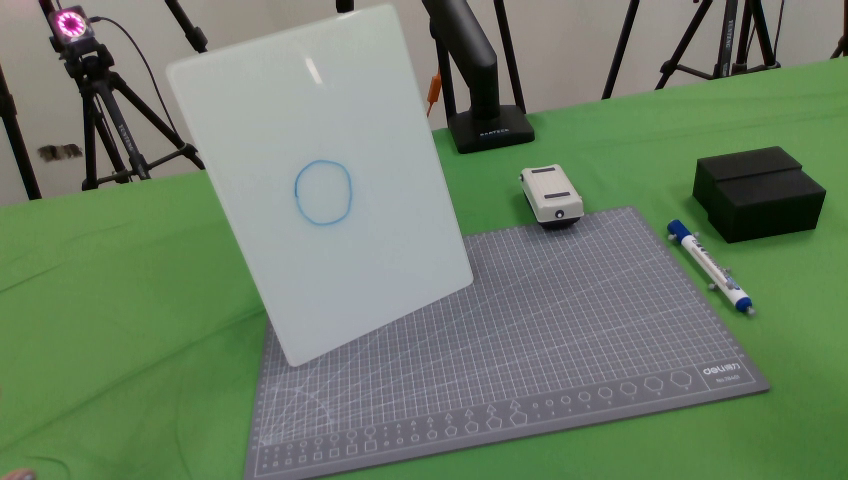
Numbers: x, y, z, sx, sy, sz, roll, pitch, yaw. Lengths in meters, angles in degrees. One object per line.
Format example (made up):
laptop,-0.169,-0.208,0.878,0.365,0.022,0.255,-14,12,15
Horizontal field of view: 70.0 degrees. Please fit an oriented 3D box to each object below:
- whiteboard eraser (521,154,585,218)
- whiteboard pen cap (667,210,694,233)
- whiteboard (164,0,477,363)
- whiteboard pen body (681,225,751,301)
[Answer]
whiteboard eraser,0.158,-0.068,0.755,0.055,0.042,0.111,-11,33,2
whiteboard pen cap,0.290,-0.020,0.682,0.018,0.018,0.033,-12,35,-3
whiteboard,-0.105,-0.070,0.642,0.217,0.307,0.142,-24,20,-17
whiteboard pen body,0.299,0.015,0.637,0.017,0.017,0.139,-11,36,-2
